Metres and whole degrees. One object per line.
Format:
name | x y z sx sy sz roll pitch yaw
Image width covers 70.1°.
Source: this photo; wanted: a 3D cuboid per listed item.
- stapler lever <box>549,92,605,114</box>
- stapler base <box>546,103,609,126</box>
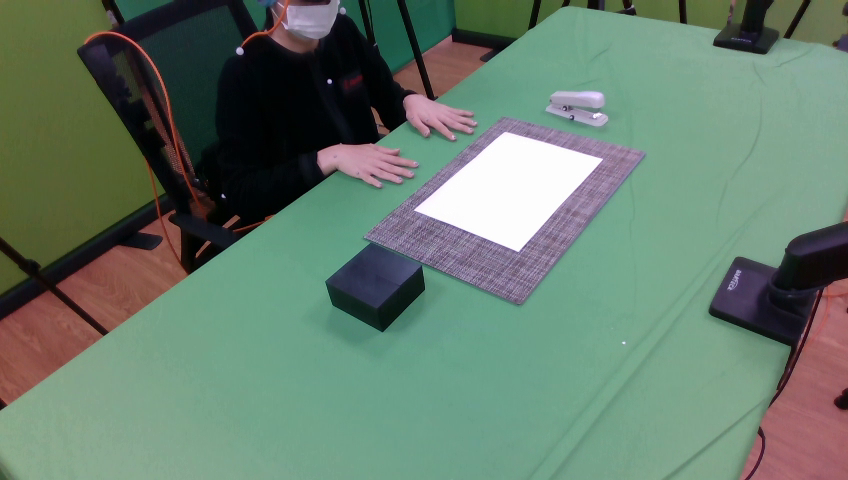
stapler lever | 0.309 -0.285 1.220 0.117 0.040 0.027 26 49 36
stapler base | 0.313 -0.265 1.235 0.129 0.024 0.041 26 49 35
